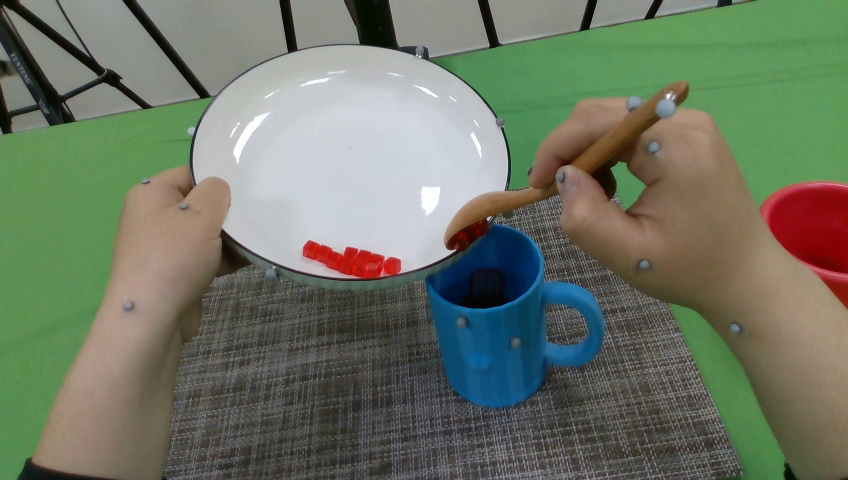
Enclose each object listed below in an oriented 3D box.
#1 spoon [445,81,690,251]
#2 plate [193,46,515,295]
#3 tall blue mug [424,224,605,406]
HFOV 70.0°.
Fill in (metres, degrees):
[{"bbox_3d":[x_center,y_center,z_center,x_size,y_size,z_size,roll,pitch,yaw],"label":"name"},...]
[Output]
[{"bbox_3d":[0.055,-0.026,0.288,0.041,0.193,0.021,-34,92,-26],"label":"spoon"},{"bbox_3d":[-0.044,-0.050,0.411,0.208,0.039,0.205,3,56,-4],"label":"plate"},{"bbox_3d":[0.060,0.050,0.416,0.107,0.109,0.077,-14,43,-2],"label":"tall blue mug"}]
